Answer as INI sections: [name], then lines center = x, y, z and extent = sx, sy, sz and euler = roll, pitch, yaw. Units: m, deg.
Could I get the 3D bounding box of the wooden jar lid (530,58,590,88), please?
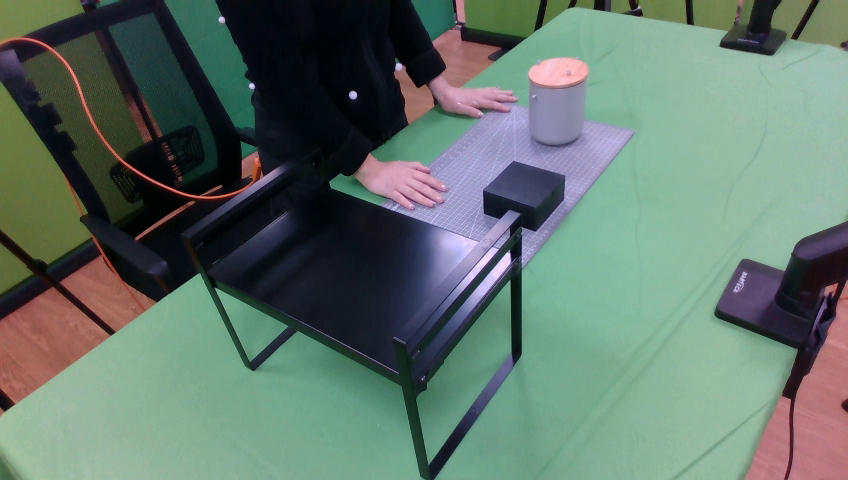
[wooden jar lid]
center = 0.249, -0.302, 1.110
extent = 0.108, 0.021, 0.108
euler = -6, 40, 6

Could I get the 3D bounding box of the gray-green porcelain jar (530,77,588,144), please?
[gray-green porcelain jar]
center = 0.254, -0.255, 1.151
extent = 0.106, 0.127, 0.105
euler = -5, 41, 4
